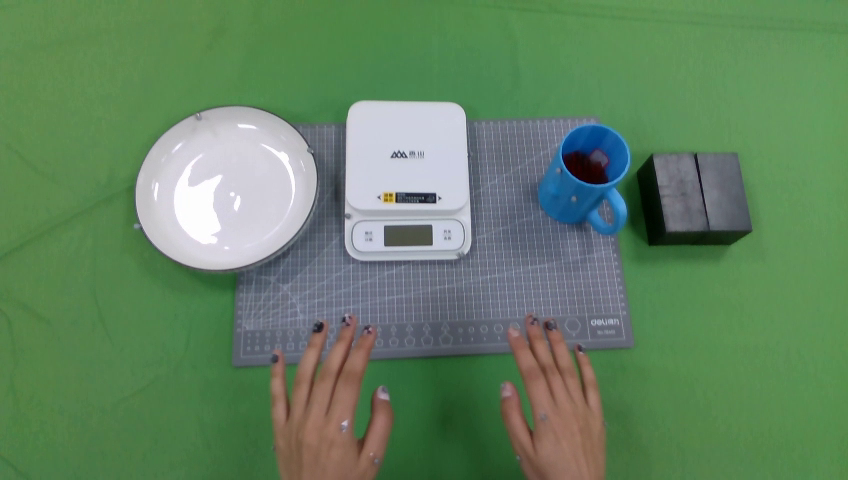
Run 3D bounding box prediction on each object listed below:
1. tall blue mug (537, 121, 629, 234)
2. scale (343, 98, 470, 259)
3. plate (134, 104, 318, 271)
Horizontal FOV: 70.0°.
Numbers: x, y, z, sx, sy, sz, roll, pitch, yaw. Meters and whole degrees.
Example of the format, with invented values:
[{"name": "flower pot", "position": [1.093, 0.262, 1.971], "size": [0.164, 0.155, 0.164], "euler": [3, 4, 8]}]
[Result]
[{"name": "tall blue mug", "position": [0.191, -0.067, 0.692], "size": [0.107, 0.108, 0.077], "euler": [33, 73, 8]}, {"name": "scale", "position": [-0.021, -0.076, 0.726], "size": [0.149, 0.032, 0.199], "euler": [-1, 73, -2]}, {"name": "plate", "position": [-0.226, -0.060, 0.708], "size": [0.209, 0.038, 0.208], "euler": [0, 72, 0]}]
